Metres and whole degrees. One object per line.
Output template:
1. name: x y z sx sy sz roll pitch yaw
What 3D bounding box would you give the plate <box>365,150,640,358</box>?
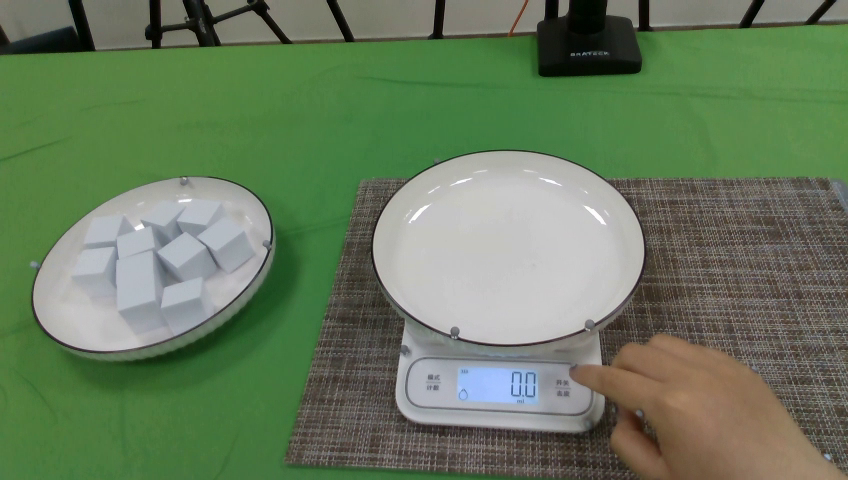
1. plate: 0.059 0.009 0.476 0.207 0.039 0.205 -3 47 3

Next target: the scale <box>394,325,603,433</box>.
1. scale: 0.060 0.052 0.480 0.148 0.032 0.199 1 47 8

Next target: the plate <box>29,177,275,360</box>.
1. plate: -0.235 0.023 0.543 0.209 0.038 0.207 -3 46 3
